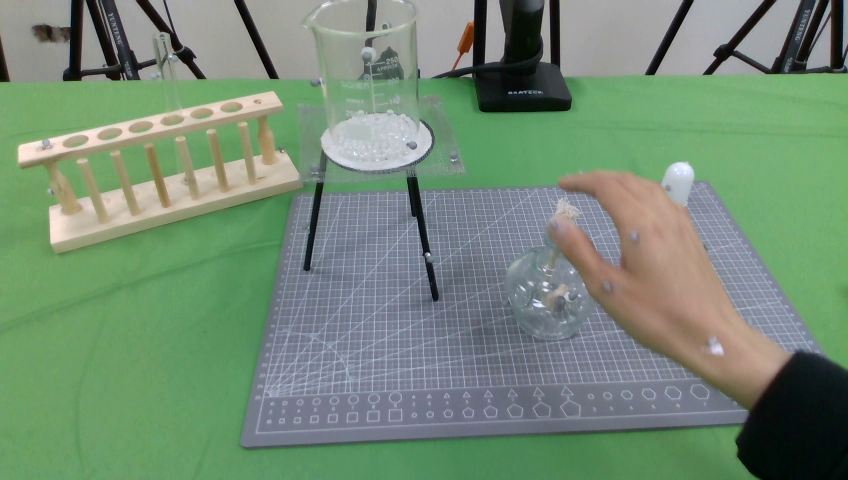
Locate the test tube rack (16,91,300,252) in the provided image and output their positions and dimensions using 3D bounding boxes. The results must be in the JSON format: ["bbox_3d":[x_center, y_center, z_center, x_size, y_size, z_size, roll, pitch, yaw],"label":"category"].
[{"bbox_3d":[-0.256,-0.074,0.609,0.243,0.086,0.066,-18,44,-20],"label":"test tube rack"}]

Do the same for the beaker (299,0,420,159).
[{"bbox_3d":[-0.044,-0.117,0.444,0.084,0.101,0.073,0,41,1],"label":"beaker"}]

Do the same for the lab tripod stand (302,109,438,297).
[{"bbox_3d":[-0.040,-0.033,0.522,0.148,0.132,0.147,0,43,1],"label":"lab tripod stand"}]

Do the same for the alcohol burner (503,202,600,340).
[{"bbox_3d":[0.102,0.021,0.475,0.078,0.120,0.077,0,39,1],"label":"alcohol burner"}]

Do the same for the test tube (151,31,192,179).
[{"bbox_3d":[-0.247,-0.128,0.595,0.017,0.151,0.017,3,35,-2],"label":"test tube"}]

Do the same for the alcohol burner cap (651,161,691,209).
[{"bbox_3d":[0.256,-0.059,0.623,0.034,0.048,0.033,0,41,0],"label":"alcohol burner cap"}]

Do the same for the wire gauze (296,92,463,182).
[{"bbox_3d":[-0.040,-0.082,0.478,0.125,0.011,0.120,-7,39,-4],"label":"wire gauze"}]
